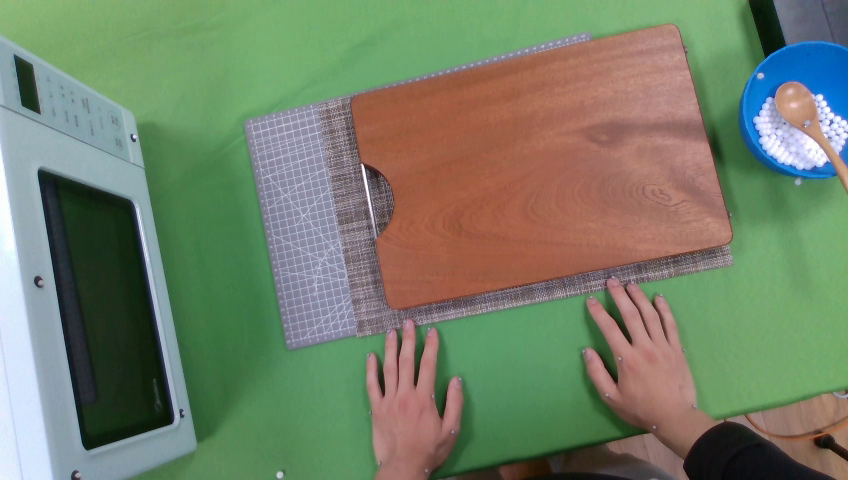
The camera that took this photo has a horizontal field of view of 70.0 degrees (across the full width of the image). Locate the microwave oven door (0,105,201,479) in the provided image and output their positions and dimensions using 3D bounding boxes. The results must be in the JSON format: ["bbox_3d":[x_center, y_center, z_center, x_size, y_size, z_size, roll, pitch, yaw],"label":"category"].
[{"bbox_3d":[-0.339,0.063,0.631,0.039,0.244,0.354,-15,82,5],"label":"microwave oven door"}]

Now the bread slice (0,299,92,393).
[{"bbox_3d":[-0.464,0.129,0.710,0.132,0.019,0.105,-6,92,-6],"label":"bread slice"}]

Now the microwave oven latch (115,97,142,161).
[{"bbox_3d":[-0.379,-0.136,0.759,0.030,0.029,0.079,-15,83,4],"label":"microwave oven latch"}]

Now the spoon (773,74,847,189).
[{"bbox_3d":[0.423,-0.100,0.637,0.041,0.022,0.192,-13,60,2],"label":"spoon"}]

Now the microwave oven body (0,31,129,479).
[{"bbox_3d":[-0.490,0.061,0.653,0.326,0.261,0.440,-15,83,4],"label":"microwave oven body"}]

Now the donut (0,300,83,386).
[{"bbox_3d":[-0.435,0.115,0.677,0.099,0.048,0.099,-1,100,-8],"label":"donut"}]

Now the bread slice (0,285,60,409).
[{"bbox_3d":[-0.444,0.125,0.628,0.134,0.018,0.106,-31,85,16],"label":"bread slice"}]

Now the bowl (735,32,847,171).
[{"bbox_3d":[0.414,-0.143,0.673,0.151,0.077,0.151,-1,84,7],"label":"bowl"}]
